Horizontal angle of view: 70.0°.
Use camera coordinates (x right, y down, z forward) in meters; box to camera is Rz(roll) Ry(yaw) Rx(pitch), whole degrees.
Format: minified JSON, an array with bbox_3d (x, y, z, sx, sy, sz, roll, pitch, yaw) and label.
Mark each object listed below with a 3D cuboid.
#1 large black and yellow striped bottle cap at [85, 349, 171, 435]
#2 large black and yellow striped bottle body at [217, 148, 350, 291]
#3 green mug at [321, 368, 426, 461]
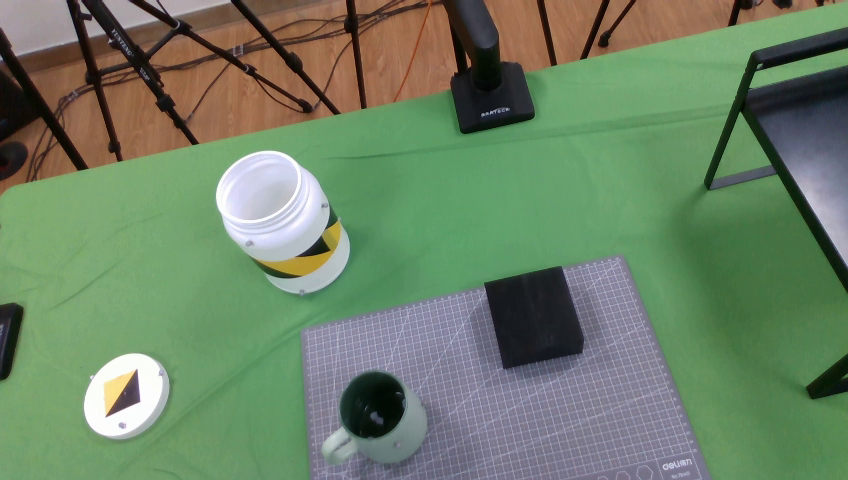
[{"bbox_3d":[-0.403,0.205,0.823,0.115,0.019,0.114,-5,59,8],"label":"large black and yellow striped bottle cap"},{"bbox_3d":[-0.185,-0.025,0.814,0.130,0.186,0.129,-5,60,8],"label":"large black and yellow striped bottle body"},{"bbox_3d":[-0.062,0.212,0.702,0.125,0.106,0.091,-36,61,-10],"label":"green mug"}]
